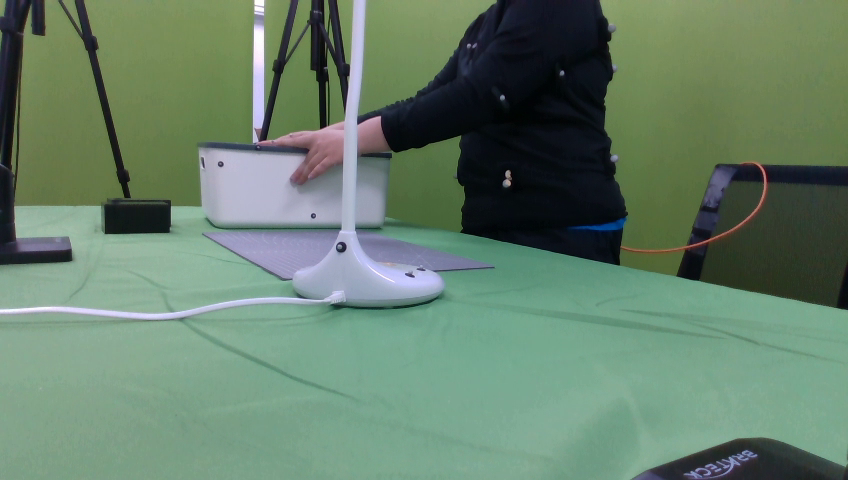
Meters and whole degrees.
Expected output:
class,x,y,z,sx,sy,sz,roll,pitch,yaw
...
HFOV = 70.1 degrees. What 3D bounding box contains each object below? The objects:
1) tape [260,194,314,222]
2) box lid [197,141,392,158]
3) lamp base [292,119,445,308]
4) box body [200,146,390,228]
class,x,y,z,sx,sy,sz,roll,pitch,yaw
tape,-0.292,-0.069,1.295,0.117,0.052,0.117,3,7,0
box lid,-0.279,-0.189,1.279,0.373,0.015,0.262,0,8,-25
lamp base,-0.056,-0.030,0.616,0.160,0.180,0.179,3,10,8
box body,-0.279,-0.117,1.289,0.366,0.160,0.253,-1,8,-25
